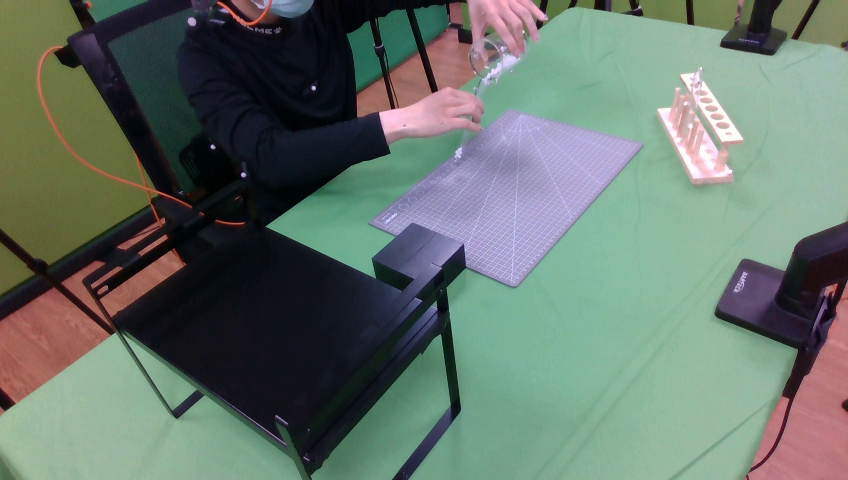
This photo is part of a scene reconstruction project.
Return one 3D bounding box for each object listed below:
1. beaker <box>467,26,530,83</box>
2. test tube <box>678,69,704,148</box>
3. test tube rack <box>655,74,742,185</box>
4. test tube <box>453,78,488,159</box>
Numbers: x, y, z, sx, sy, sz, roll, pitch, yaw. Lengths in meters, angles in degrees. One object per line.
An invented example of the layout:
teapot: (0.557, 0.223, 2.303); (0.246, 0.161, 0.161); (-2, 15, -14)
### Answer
beaker: (0.139, -0.338, 1.093); (0.073, 0.084, 0.100); (-6, 25, 49)
test tube: (0.465, -0.228, 1.054); (0.017, 0.151, 0.017); (-4, 41, 4)
test tube rack: (0.488, -0.205, 1.093); (0.067, 0.085, 0.241); (-3, 41, 5)
test tube: (0.083, -0.219, 1.095); (0.017, 0.150, 0.017); (19, 9, -3)
